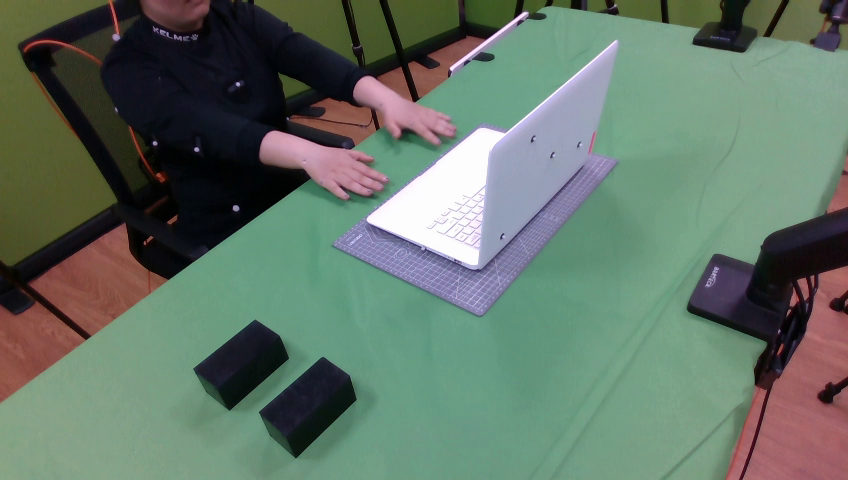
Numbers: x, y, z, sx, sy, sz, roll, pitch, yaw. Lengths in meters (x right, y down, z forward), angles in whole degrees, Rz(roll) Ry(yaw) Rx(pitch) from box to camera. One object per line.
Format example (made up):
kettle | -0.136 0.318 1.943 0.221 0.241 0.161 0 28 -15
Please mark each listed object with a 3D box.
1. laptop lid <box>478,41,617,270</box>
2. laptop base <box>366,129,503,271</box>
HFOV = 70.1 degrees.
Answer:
laptop lid | 0.190 -0.130 0.913 0.013 0.242 0.358 29 50 26
laptop base | 0.098 -0.085 1.059 0.233 0.023 0.355 21 48 34
